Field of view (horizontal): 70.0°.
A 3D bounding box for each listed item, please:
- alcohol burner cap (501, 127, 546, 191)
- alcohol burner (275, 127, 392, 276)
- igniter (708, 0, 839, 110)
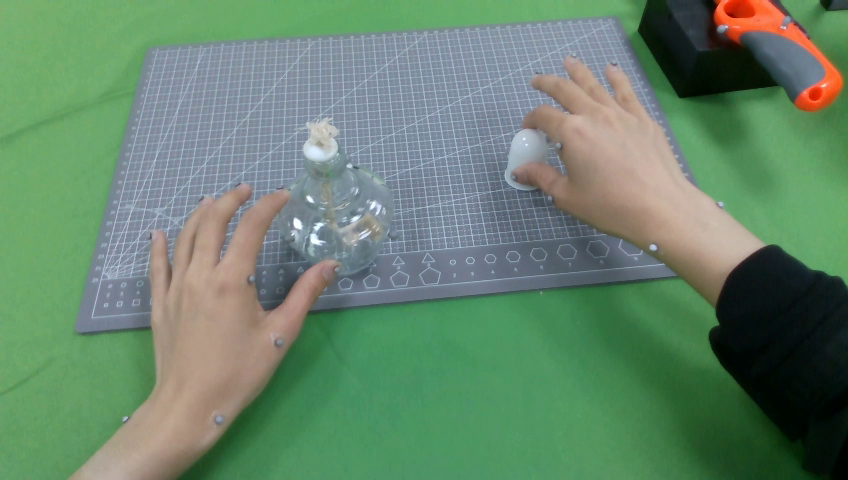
[{"bbox_3d":[0.077,-0.064,0.458,0.034,0.048,0.033,0,49,0],"label":"alcohol burner cap"},{"bbox_3d":[-0.060,-0.029,0.391,0.078,0.120,0.077,0,56,1],"label":"alcohol burner"},{"bbox_3d":[0.260,-0.203,0.513,0.057,0.025,0.273,-11,53,-4],"label":"igniter"}]
